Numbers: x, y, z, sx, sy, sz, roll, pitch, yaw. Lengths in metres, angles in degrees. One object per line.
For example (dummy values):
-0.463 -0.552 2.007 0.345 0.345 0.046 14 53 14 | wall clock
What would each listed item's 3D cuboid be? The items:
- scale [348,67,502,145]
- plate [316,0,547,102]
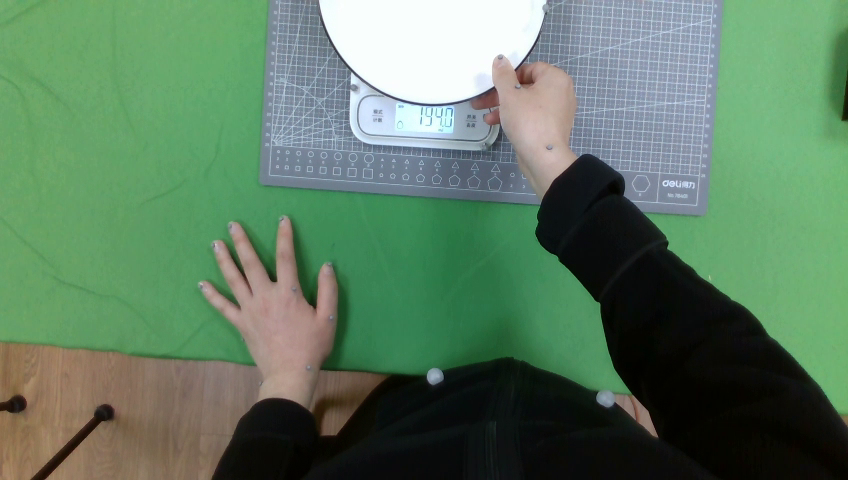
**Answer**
0.004 -0.197 0.589 0.149 0.031 0.201 3 92 0 | scale
0.007 -0.228 0.555 0.209 0.038 0.209 0 92 -2 | plate
